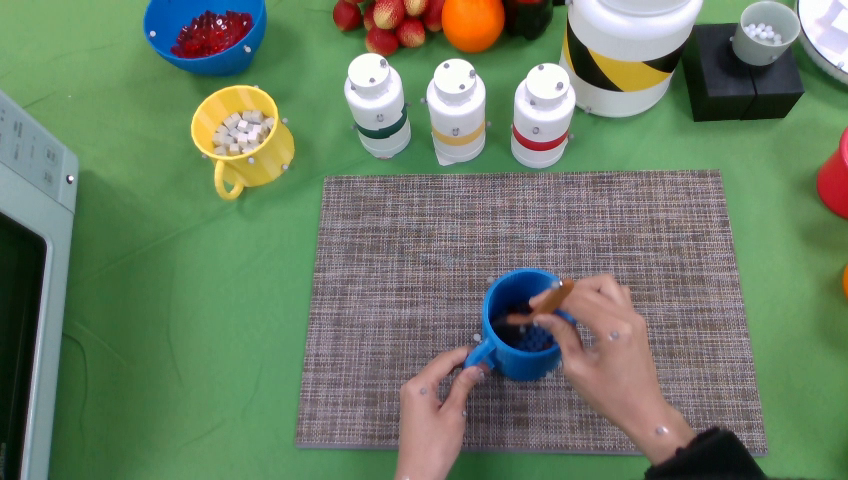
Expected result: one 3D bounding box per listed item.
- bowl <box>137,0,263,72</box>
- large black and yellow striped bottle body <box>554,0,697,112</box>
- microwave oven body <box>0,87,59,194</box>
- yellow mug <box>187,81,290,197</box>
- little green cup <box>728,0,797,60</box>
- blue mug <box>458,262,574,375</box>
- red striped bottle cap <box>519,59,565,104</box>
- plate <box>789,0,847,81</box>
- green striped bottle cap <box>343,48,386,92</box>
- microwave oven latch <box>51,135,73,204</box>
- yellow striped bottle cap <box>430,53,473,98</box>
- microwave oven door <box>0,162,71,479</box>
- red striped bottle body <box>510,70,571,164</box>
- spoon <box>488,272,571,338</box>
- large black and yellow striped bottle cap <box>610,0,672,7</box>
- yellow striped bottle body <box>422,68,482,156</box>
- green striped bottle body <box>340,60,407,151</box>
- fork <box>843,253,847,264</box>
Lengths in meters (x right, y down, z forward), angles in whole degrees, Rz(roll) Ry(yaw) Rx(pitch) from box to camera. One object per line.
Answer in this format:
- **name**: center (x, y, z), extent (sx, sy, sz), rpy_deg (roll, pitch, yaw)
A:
- **bowl**: center (-0.268, -0.266, 0.763), extent (0.151, 0.077, 0.150), rpy_deg (-1, 68, 4)
- **large black and yellow striped bottle body**: center (0.215, -0.241, 0.654), extent (0.131, 0.185, 0.130), rpy_deg (-2, 67, 5)
- **microwave oven body**: center (-0.559, 0.068, 0.549), extent (0.326, 0.262, 0.438), rpy_deg (-9, 68, 1)
- **yellow mug**: center (-0.218, -0.112, 0.702), extent (0.100, 0.064, 0.130), rpy_deg (9, 69, 8)
- **little green cup**: center (0.366, -0.229, 0.660), extent (0.061, 0.039, 0.061), rpy_deg (-1, 66, 2)
- **blue mug**: center (0.080, 0.086, 0.571), extent (0.116, 0.106, 0.081), rpy_deg (-35, 68, -9)
- **red striped bottle cap**: center (0.119, -0.160, 0.607), extent (0.044, 0.018, 0.044), rpy_deg (0, 66, 1)
- **plate**: center (0.535, -0.259, 0.713), extent (0.209, 0.038, 0.207), rpy_deg (-2, 68, 4)
- **green striped bottle cap**: center (-0.062, -0.177, 0.629), extent (0.044, 0.020, 0.044), rpy_deg (0, 68, 2)
- **microwave oven latch**: center (-0.429, -0.080, 0.703), extent (0.030, 0.030, 0.078), rpy_deg (-8, 68, 1)
- **yellow striped bottle cap**: center (0.028, -0.168, 0.619), extent (0.044, 0.019, 0.044), rpy_deg (-2, 69, 4)
- **microwave oven door**: center (-0.410, 0.081, 0.526), extent (0.039, 0.245, 0.353), rpy_deg (-9, 67, 2)
- **red striped bottle body**: center (0.124, -0.139, 0.655), extent (0.063, 0.120, 0.062), rpy_deg (-3, 66, 7)
- **spoon**: center (0.089, 0.059, 0.513), extent (0.042, 0.194, 0.021), rpy_deg (3, 73, -7)
- **large black and yellow striped bottle cap**: center (0.207, -0.272, 0.576), extent (0.115, 0.019, 0.114), rpy_deg (-2, 67, 5)
- **yellow striped bottle body**: center (0.032, -0.149, 0.666), extent (0.063, 0.121, 0.062), rpy_deg (-2, 67, 5)
- **green striped bottle body**: center (-0.056, -0.156, 0.678), extent (0.063, 0.120, 0.062), rpy_deg (-2, 67, 4)
- **fork**: center (0.477, 0.045, 0.534), extent (0.028, 0.019, 0.205), rpy_deg (-38, 25, -9)
